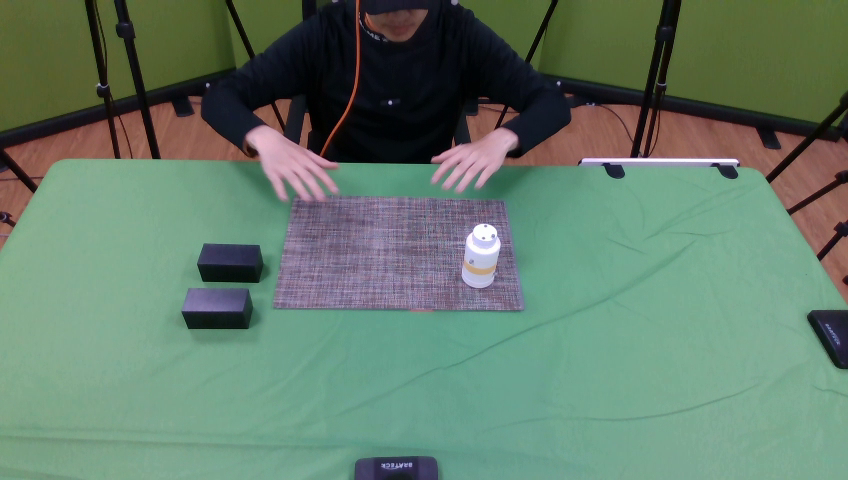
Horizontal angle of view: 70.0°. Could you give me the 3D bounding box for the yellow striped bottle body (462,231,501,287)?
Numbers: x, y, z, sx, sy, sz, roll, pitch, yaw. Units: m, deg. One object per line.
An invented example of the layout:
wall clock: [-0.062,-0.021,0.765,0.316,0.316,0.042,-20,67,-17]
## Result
yellow striped bottle body: [0.105,0.025,1.106,0.063,0.121,0.062,2,46,-2]

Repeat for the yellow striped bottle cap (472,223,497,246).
yellow striped bottle cap: [0.107,-0.010,1.068,0.044,0.019,0.044,3,47,-3]
